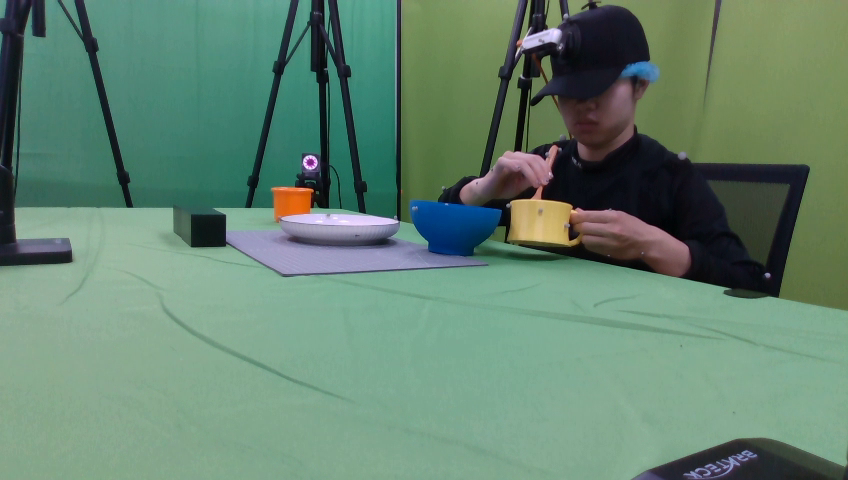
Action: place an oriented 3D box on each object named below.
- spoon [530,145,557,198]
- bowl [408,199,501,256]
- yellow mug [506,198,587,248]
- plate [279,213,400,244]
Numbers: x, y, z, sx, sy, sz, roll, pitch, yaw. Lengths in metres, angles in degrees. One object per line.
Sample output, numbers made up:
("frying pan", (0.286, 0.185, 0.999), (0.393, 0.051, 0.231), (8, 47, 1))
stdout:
("spoon", (0.190, -0.090, 0.991), (0.041, 0.021, 0.194), (19, 52, 8))
("bowl", (0.045, -0.019, 0.967), (0.151, 0.077, 0.151), (6, 5, 0))
("yellow mug", (0.199, -0.024, 0.966), (0.131, 0.064, 0.099), (8, -5, -12))
("plate", (-0.147, -0.020, 1.060), (0.209, 0.038, 0.209), (3, 7, 0))
